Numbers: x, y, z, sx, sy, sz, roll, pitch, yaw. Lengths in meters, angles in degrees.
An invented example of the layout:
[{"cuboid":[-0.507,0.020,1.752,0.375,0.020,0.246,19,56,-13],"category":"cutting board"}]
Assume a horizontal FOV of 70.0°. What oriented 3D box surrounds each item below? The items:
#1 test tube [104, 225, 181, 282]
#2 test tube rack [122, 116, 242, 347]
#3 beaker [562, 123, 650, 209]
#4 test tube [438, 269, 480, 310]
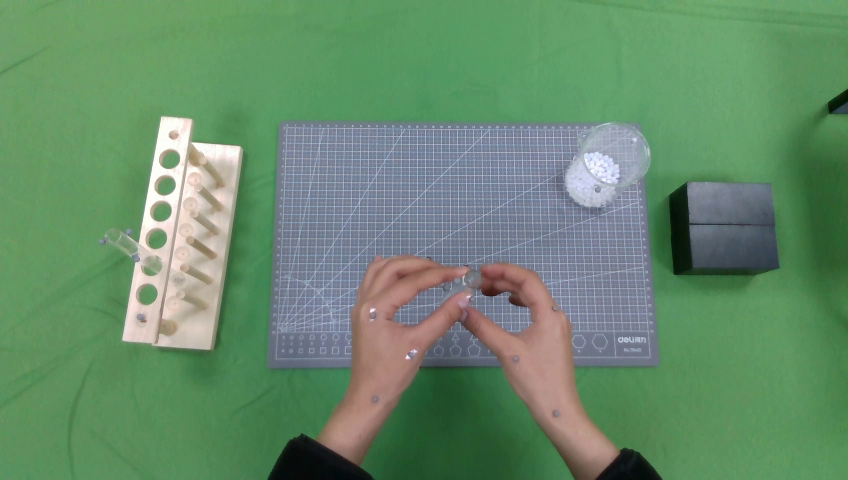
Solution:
[{"cuboid":[-0.282,0.018,0.618,0.017,0.151,0.017,0,71,0],"category":"test tube"},{"cuboid":[-0.263,-0.006,0.674,0.067,0.085,0.241,5,78,-1],"category":"test tube rack"},{"cuboid":[0.201,-0.082,0.696,0.084,0.100,0.074,31,78,7],"category":"beaker"},{"cuboid":[0.029,0.048,0.551,0.017,0.151,0.017,2,76,-6],"category":"test tube"}]
